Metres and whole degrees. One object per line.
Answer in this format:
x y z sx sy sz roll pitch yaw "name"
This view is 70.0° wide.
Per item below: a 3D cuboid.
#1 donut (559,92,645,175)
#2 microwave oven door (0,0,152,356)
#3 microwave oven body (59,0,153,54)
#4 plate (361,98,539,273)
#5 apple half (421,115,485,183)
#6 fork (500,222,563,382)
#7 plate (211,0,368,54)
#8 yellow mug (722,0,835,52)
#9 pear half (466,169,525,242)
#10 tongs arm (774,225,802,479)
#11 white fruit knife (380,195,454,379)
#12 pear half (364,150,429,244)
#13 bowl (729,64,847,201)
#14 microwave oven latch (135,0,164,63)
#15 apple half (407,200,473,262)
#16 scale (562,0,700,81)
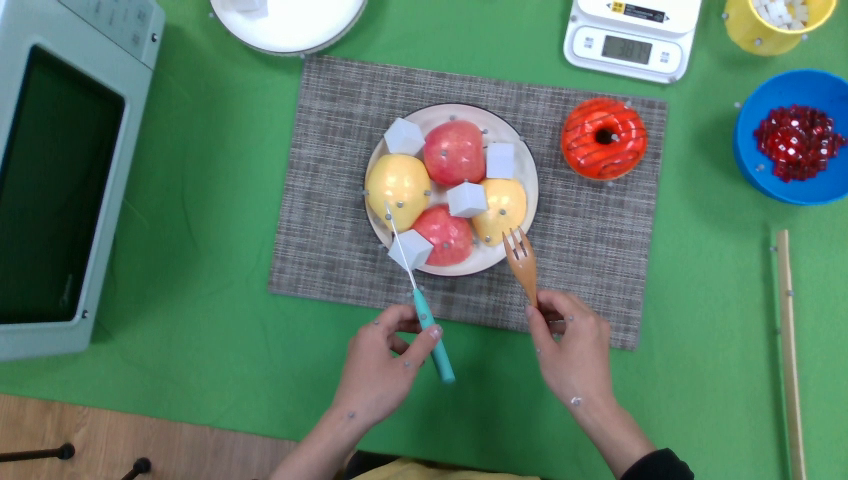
0.208 -0.125 0.713 0.099 0.048 0.099 -1 85 6 "donut"
-0.397 -0.057 0.629 0.039 0.244 0.355 11 86 5 "microwave oven door"
-0.531 -0.127 0.647 0.326 0.260 0.441 11 87 4 "microwave oven body"
0.031 -0.063 0.722 0.209 0.038 0.208 0 86 3 "plate"
0.033 -0.108 0.708 0.074 0.053 0.080 -4 88 6 "apple half"
0.120 0.073 0.647 0.028 0.018 0.209 -24 118 -5 "fork"
-0.163 -0.329 0.758 0.207 0.039 0.207 0 85 3 "plate"
0.406 -0.294 0.708 0.100 0.064 0.130 -24 84 2 "yellow mug"
0.081 -0.043 0.711 0.070 0.031 0.088 11 83 18 "pear half"
0.430 0.175 0.685 0.051 0.026 0.384 0 87 0 "tongs arm"
-0.009 0.052 0.620 0.016 0.027 0.208 -20 98 3 "white fruit knife"
-0.032 -0.049 0.703 0.076 0.056 0.109 2 89 -4 "pear half"
0.413 -0.113 0.688 0.151 0.077 0.151 0 86 4 "bowl"
-0.344 -0.262 0.744 0.030 0.029 0.079 13 87 4 "microwave oven latch"
0.018 -0.011 0.710 0.081 0.033 0.081 0 80 1 "apple half"
0.259 -0.303 0.734 0.148 0.031 0.200 13 87 5 "scale"
